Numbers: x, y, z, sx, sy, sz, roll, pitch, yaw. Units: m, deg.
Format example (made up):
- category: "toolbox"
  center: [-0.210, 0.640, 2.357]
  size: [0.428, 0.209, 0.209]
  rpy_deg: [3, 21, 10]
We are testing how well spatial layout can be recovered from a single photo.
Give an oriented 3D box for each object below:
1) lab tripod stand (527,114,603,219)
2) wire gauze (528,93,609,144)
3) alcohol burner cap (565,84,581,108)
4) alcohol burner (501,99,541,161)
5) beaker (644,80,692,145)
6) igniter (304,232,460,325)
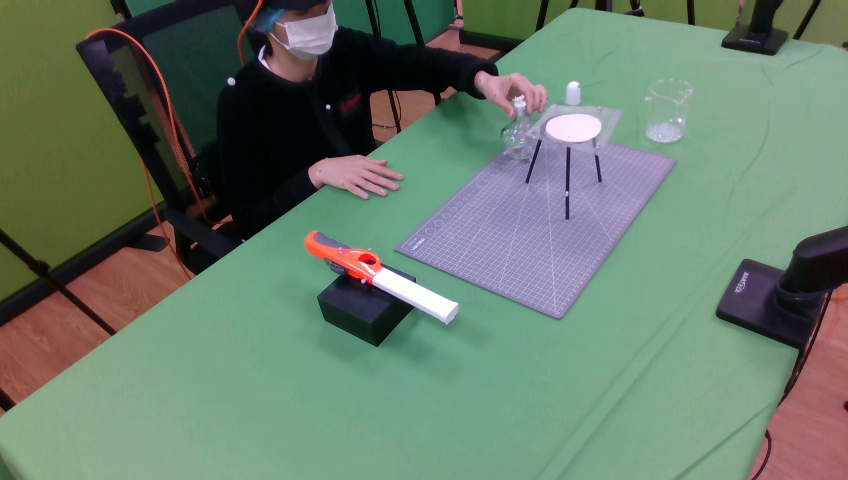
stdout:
- category: "lab tripod stand"
  center: [0.234, -0.129, 1.002]
  size: [0.148, 0.132, 0.147]
  rpy_deg: [-6, 40, 6]
- category: "wire gauze"
  center: [0.225, -0.188, 0.943]
  size: [0.121, 0.011, 0.124]
  rpy_deg: [6, 48, 9]
- category: "alcohol burner cap"
  center: [0.315, -0.307, 1.278]
  size: [0.034, 0.048, 0.033]
  rpy_deg: [-5, 42, 5]
- category: "alcohol burner"
  center: [0.178, -0.205, 1.106]
  size: [0.078, 0.119, 0.077]
  rpy_deg: [-6, 40, 6]
- category: "beaker"
  center: [0.451, -0.233, 1.122]
  size: [0.074, 0.101, 0.083]
  rpy_deg: [-8, 40, 1]
- category: "igniter"
  center: [-0.070, 0.048, 0.853]
  size: [0.274, 0.025, 0.057]
  rpy_deg: [24, 48, 29]
